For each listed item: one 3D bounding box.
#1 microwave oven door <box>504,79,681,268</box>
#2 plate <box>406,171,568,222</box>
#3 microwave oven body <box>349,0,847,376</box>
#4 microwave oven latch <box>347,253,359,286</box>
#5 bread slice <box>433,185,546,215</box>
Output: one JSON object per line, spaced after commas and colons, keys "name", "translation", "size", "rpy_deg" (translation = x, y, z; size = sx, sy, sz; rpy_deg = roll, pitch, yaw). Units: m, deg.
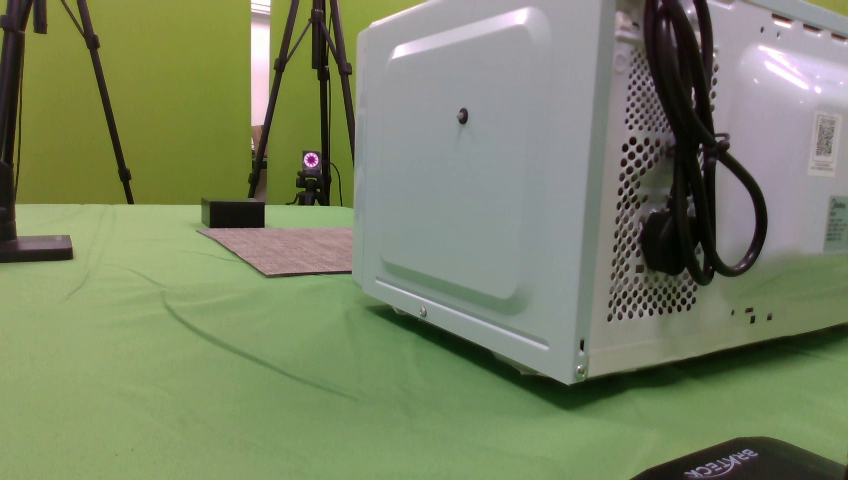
{"name": "microwave oven door", "translation": [0.235, -0.105, 0.926], "size": [0.039, 0.243, 0.354], "rpy_deg": [-1, 8, -24]}
{"name": "plate", "translation": [0.078, -0.055, 0.775], "size": [0.209, 0.038, 0.209], "rpy_deg": [8, 9, -1]}
{"name": "microwave oven body", "translation": [0.199, -0.053, 0.540], "size": [0.444, 0.260, 0.324], "rpy_deg": [-1, 7, -32]}
{"name": "microwave oven latch", "translation": [-0.034, 0.028, 0.581], "size": [0.079, 0.029, 0.030], "rpy_deg": [-1, 7, -31]}
{"name": "bread slice", "translation": [0.079, -0.052, 0.772], "size": [0.132, 0.019, 0.104], "rpy_deg": [6, 8, -15]}
